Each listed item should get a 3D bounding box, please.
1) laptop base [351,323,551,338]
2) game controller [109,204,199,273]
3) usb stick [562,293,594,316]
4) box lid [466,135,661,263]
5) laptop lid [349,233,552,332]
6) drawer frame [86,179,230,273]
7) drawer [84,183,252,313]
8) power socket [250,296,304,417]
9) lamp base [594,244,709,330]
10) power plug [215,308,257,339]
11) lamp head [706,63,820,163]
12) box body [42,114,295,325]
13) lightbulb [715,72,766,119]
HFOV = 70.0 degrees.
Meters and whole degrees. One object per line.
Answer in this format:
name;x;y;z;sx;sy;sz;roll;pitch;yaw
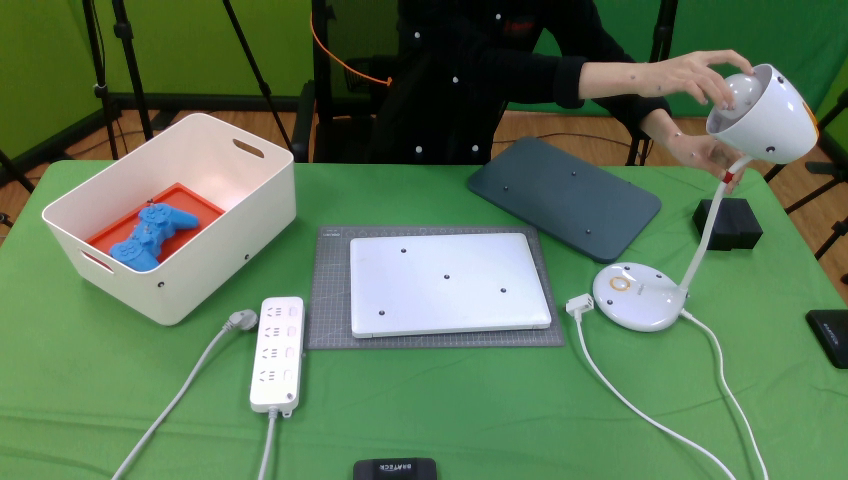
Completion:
laptop base;0.040;0.080;1.126;0.355;0.023;0.234;-2;43;-6
game controller;-0.467;-0.005;1.044;0.097;0.052;0.154;8;45;10
usb stick;0.274;0.118;1.087;0.021;0.059;0.027;38;45;-27
box lid;0.306;-0.102;1.327;0.370;0.015;0.263;32;52;25
laptop lid;0.040;0.070;1.119;0.357;0.013;0.240;-1;44;-5
drawer frame;-0.453;0.010;1.100;0.201;0.083;0.213;28;54;23
drawer;-0.457;0.008;1.099;0.194;0.073;0.211;29;49;21
power socket;-0.239;0.182;0.996;0.072;0.033;0.225;-2;47;-5
lamp base;0.412;0.052;1.070;0.179;0.181;0.160;18;48;9
power plug;-0.317;0.143;1.024;0.072;0.053;0.035;-32;57;-8
lamp head;0.460;-0.155;0.813;0.123;0.112;0.112;36;47;-12
box body;-0.437;-0.046;1.110;0.253;0.161;0.363;24;49;19
lightbulb;0.439;-0.179;0.806;0.108;0.059;0.059;33;48;-6
